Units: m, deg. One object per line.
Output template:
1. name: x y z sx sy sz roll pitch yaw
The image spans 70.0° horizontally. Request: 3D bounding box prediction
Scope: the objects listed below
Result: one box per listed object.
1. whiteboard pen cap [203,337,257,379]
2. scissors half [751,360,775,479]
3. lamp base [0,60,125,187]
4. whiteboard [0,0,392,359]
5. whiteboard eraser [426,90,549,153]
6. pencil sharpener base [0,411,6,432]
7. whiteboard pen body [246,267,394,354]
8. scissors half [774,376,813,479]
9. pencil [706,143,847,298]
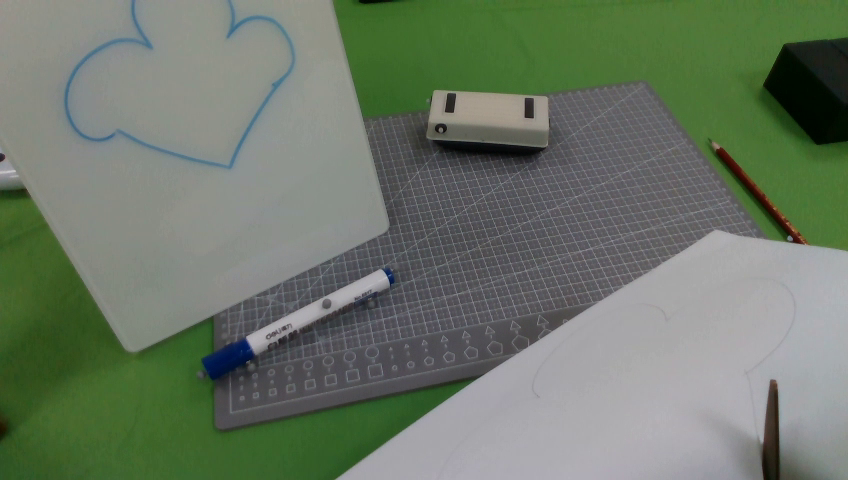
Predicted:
1. whiteboard pen cap: -0.133 0.080 0.416 0.033 0.018 0.018 -27 55 -21
2. scissors half: 0.153 0.139 0.256 0.013 0.040 0.174 4 72 -9
3. lamp base: -0.376 -0.162 0.513 0.178 0.182 0.160 22 53 19
4. whiteboard: -0.178 -0.113 0.434 0.217 0.308 0.142 -26 36 -21
5. whiteboard eraser: 0.060 -0.110 0.569 0.112 0.042 0.055 5 51 3
6. pencil sharpener base: -0.312 0.097 0.345 0.061 0.108 0.076 29 55 21
7. whiteboard pen body: -0.084 0.055 0.437 0.141 0.017 0.017 -26 55 -21
8. scissors half: 0.151 0.138 0.280 0.013 0.176 0.039 4 23 -5
9. pencil: 0.303 -0.026 0.531 0.012 0.012 0.192 -12 49 -11
